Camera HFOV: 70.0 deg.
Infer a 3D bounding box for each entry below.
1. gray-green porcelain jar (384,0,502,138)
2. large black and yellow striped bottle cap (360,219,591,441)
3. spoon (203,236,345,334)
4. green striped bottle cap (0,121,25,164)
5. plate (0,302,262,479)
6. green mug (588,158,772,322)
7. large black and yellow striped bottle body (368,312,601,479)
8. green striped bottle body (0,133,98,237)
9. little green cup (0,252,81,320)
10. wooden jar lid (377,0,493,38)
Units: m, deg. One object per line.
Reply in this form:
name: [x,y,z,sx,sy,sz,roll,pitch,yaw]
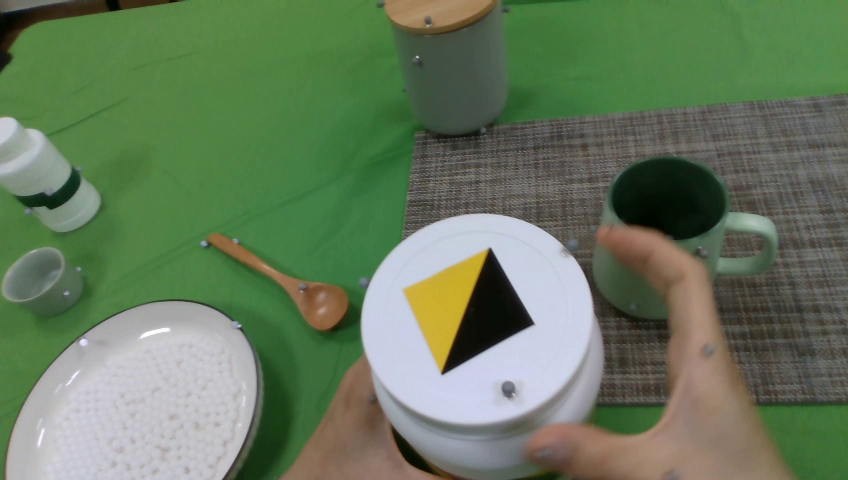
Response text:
gray-green porcelain jar: [0.023,-0.175,0.603,0.106,0.128,0.105,-6,50,8]
large black and yellow striped bottle cap: [0.024,0.040,0.302,0.115,0.019,0.114,-6,57,9]
spoon: [-0.144,0.033,0.558,0.192,0.022,0.041,27,81,27]
green striped bottle cap: [-0.407,-0.092,0.577,0.044,0.020,0.044,-4,56,6]
plate: [-0.225,0.148,0.484,0.209,0.038,0.207,-6,54,8]
green mug: [0.188,0.003,0.452,0.125,0.106,0.092,5,56,15]
large black and yellow striped bottle body: [0.040,0.085,0.377,0.130,0.186,0.129,-5,58,9]
green striped bottle body: [-0.398,-0.061,0.618,0.063,0.120,0.062,-6,54,9]
little green cup: [-0.368,0.047,0.586,0.061,0.039,0.061,-6,53,8]
wooden jar lid: [0.012,-0.215,0.555,0.108,0.021,0.107,-8,52,11]
